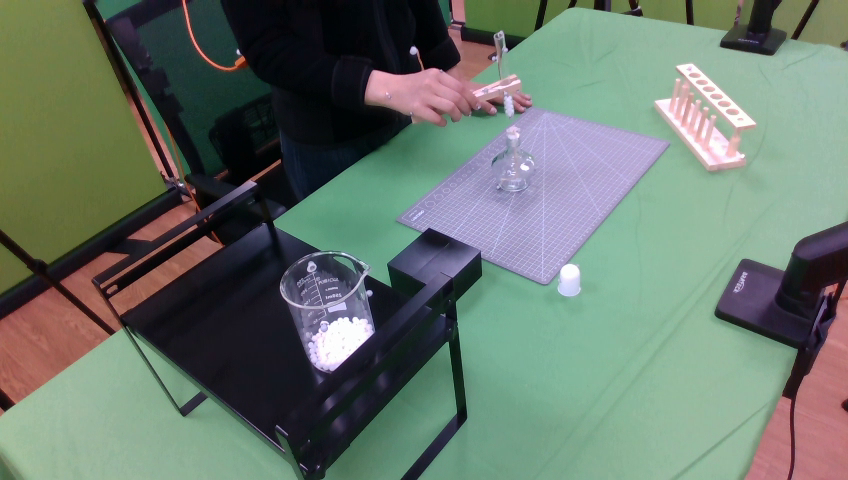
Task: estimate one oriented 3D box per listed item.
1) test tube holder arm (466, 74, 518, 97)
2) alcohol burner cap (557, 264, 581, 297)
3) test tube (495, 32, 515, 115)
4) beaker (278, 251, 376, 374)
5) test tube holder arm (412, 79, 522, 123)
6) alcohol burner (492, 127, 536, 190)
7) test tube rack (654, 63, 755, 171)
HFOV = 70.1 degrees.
[{"bbox_3d":[0.106,-0.236,0.947,0.088,0.015,0.010,-25,47,-8],"label":"test tube holder arm"},{"bbox_3d":[0.208,0.055,0.866,0.034,0.048,0.033,-4,41,4],"label":"alcohol burner cap"},{"bbox_3d":[0.125,-0.252,0.934,0.017,0.151,0.017,-8,51,10],"label":"test tube"},{"bbox_3d":[-0.084,0.070,0.570,0.084,0.101,0.073,-18,42,-13],"label":"beaker"},{"bbox_3d":[0.066,-0.217,0.939,0.178,0.015,0.013,-19,46,-3],"label":"test tube holder arm"},{"bbox_3d":[0.156,-0.146,1.046,0.078,0.119,0.077,-4,43,4],"label":"alcohol burner"},{"bbox_3d":[0.510,-0.233,1.120,0.067,0.085,0.241,-8,41,-1],"label":"test tube rack"}]
